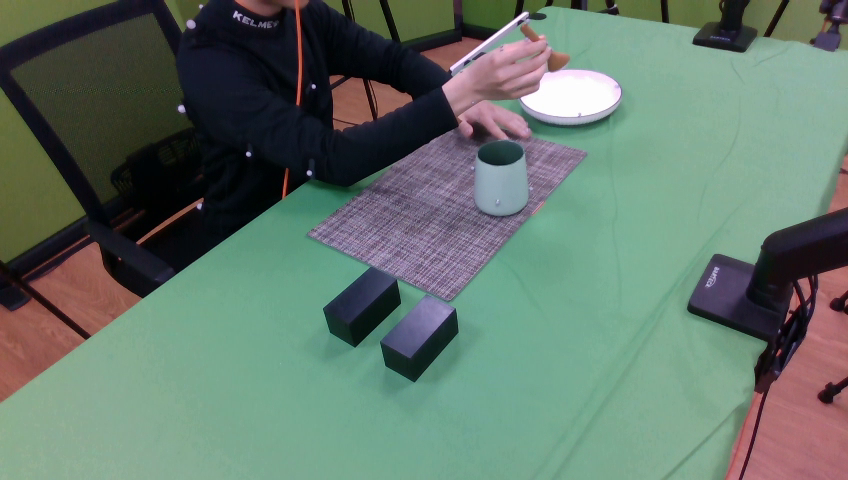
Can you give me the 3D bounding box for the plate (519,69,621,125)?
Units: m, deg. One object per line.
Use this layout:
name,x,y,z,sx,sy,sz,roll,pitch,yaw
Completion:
plate,0.300,-0.293,1.253,0.209,0.038,0.208,-4,41,4

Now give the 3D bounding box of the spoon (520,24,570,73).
spoon,0.187,-0.299,0.944,0.041,0.195,0.021,-35,68,24

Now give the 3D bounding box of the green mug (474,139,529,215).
green mug,0.126,-0.113,1.013,0.092,0.105,0.124,-8,41,0
